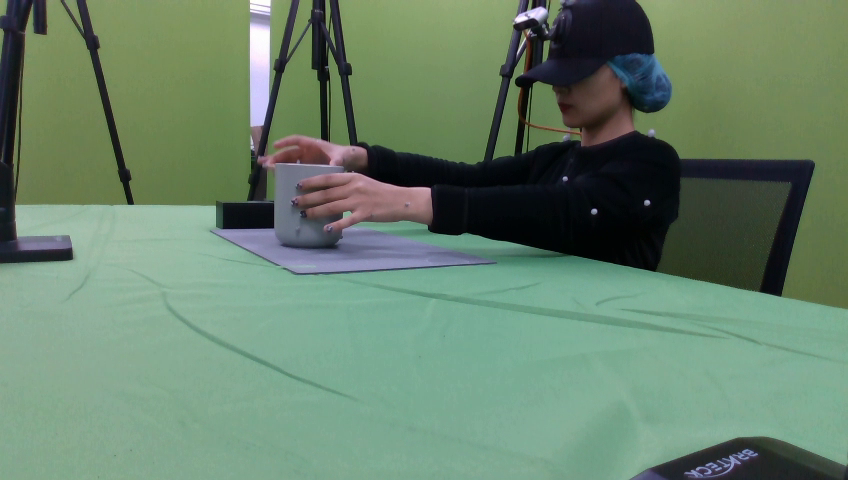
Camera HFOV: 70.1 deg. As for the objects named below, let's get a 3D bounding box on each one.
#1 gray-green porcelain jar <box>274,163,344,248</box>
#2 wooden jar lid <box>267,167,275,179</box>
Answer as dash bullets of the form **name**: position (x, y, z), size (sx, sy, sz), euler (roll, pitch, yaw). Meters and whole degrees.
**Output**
- **gray-green porcelain jar**: position (-0.179, -0.055, 0.942), size (0.106, 0.126, 0.106), euler (2, 7, 0)
- **wooden jar lid**: position (-0.217, -0.116, 1.054), size (0.108, 0.020, 0.108), euler (1, 11, 0)
